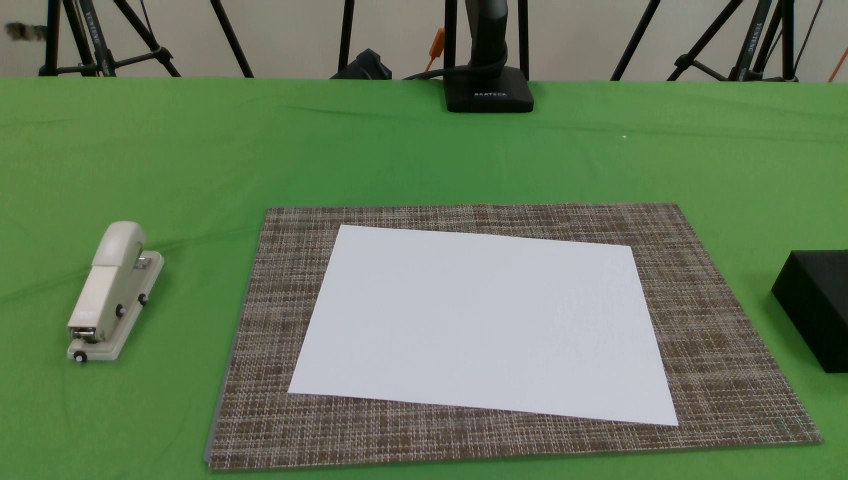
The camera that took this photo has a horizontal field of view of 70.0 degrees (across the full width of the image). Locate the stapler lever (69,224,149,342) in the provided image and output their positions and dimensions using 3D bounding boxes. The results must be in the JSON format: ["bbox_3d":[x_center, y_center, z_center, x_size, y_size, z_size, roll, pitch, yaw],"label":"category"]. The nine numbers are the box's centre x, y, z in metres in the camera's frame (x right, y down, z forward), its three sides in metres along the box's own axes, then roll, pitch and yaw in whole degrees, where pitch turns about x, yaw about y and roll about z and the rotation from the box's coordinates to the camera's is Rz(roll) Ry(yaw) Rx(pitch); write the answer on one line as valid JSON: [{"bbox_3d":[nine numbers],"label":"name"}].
[{"bbox_3d":[-0.266,0.032,0.515,0.027,0.040,0.117,0,41,0],"label":"stapler lever"}]

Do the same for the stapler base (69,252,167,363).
[{"bbox_3d":[-0.267,0.050,0.532,0.041,0.024,0.129,1,42,0],"label":"stapler base"}]
